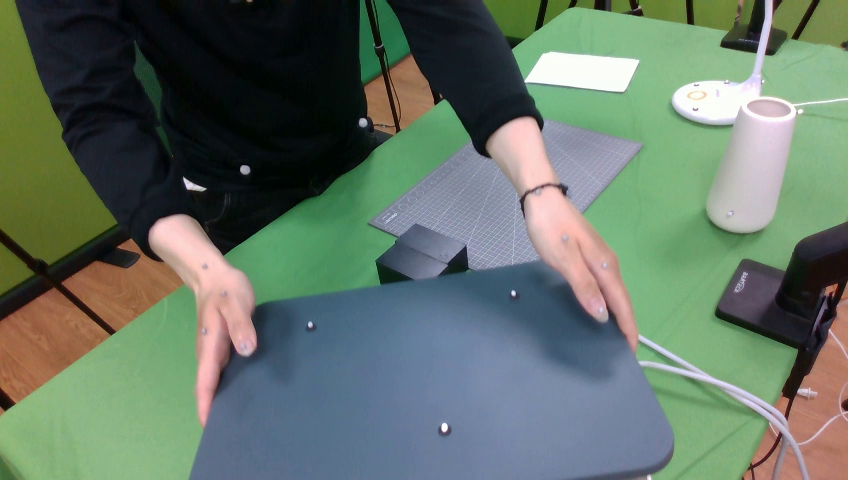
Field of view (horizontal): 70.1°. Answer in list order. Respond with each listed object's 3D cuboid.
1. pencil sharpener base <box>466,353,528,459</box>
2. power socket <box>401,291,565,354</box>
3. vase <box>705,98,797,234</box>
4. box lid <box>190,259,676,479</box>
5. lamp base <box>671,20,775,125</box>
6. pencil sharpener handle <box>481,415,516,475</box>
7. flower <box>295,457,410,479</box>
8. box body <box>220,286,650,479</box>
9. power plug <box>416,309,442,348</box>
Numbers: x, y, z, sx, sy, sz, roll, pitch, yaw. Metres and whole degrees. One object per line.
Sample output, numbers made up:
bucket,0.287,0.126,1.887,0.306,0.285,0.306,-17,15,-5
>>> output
pencil sharpener base,0.081,0.186,0.665,0.061,0.107,0.076,-4,41,5
power socket,0.080,0.111,0.823,0.227,0.033,0.072,-5,41,1
vase,0.481,-0.104,0.888,0.098,0.201,0.097,-4,42,4
box lid,-0.004,0.118,0.533,0.372,0.015,0.262,-8,33,0
lamp base,0.582,-0.332,1.154,0.179,0.181,0.160,2,41,7
pencil sharpener handle,0.076,0.211,0.619,0.036,0.068,0.030,1,42,0
flower,0.016,0.270,0.655,0.360,0.038,0.044,3,18,21
box body,0.006,0.210,0.618,0.364,0.161,0.252,-8,40,-1
power plug,0.004,0.121,0.787,0.035,0.053,0.072,4,45,8
